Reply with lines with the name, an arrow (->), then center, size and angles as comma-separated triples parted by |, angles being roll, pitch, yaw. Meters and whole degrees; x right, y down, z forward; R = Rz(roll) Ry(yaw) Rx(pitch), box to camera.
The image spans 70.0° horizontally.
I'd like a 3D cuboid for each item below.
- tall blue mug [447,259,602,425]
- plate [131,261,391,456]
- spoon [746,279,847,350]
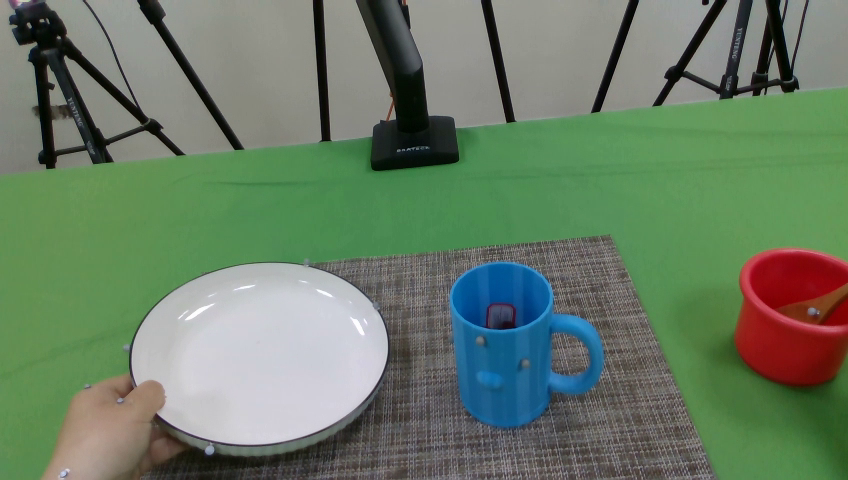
tall blue mug -> 0.076, 0.078, 0.474 | 0.107, 0.109, 0.077 | -9, 37, -3
plate -> -0.133, 0.097, 0.516 | 0.208, 0.039, 0.205 | 7, 36, -5
spoon -> 0.320, 0.030, 0.442 | 0.022, 0.194, 0.041 | 25, 47, -11
